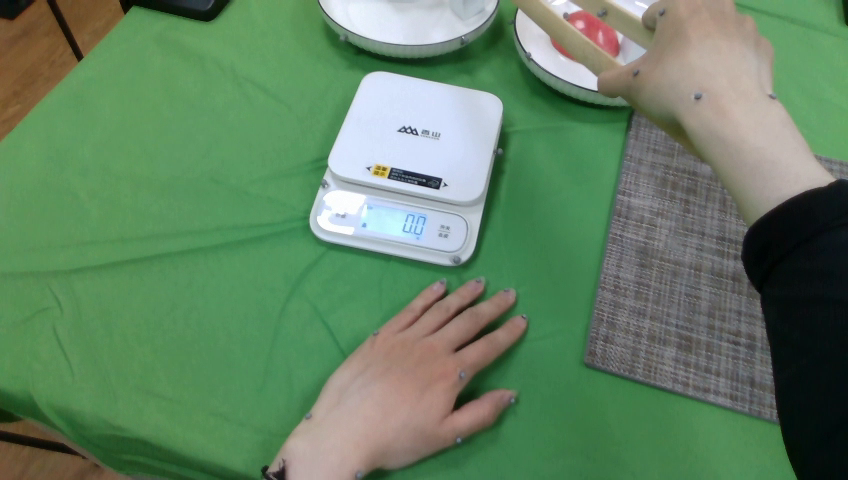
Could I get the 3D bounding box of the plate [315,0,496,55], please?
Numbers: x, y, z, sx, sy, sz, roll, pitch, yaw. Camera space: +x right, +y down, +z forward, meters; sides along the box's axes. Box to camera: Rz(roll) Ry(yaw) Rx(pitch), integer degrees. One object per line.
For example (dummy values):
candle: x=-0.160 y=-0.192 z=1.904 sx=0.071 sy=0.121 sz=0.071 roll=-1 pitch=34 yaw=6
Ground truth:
plate: x=-0.021 y=-0.279 z=0.700 sx=0.208 sy=0.039 sz=0.205 roll=1 pitch=56 yaw=-2

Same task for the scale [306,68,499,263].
scale: x=-0.015 y=-0.076 z=0.568 sx=0.148 sy=0.032 sz=0.199 roll=12 pitch=57 yaw=5

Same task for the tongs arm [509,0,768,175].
tongs arm: x=0.136 y=-0.173 z=0.519 sx=0.028 sy=0.028 sz=0.383 roll=-21 pitch=49 yaw=-12

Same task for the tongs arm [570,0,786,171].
tongs arm: x=0.158 y=-0.182 z=0.523 sx=0.051 sy=0.027 sz=0.380 roll=-26 pitch=50 yaw=-13

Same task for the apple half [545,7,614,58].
apple half: x=0.178 y=-0.236 z=0.675 sx=0.081 sy=0.033 sz=0.080 roll=0 pitch=53 yaw=0

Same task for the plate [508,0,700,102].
plate: x=0.195 y=-0.222 z=0.673 sx=0.209 sy=0.038 sz=0.207 roll=2 pitch=56 yaw=-2
